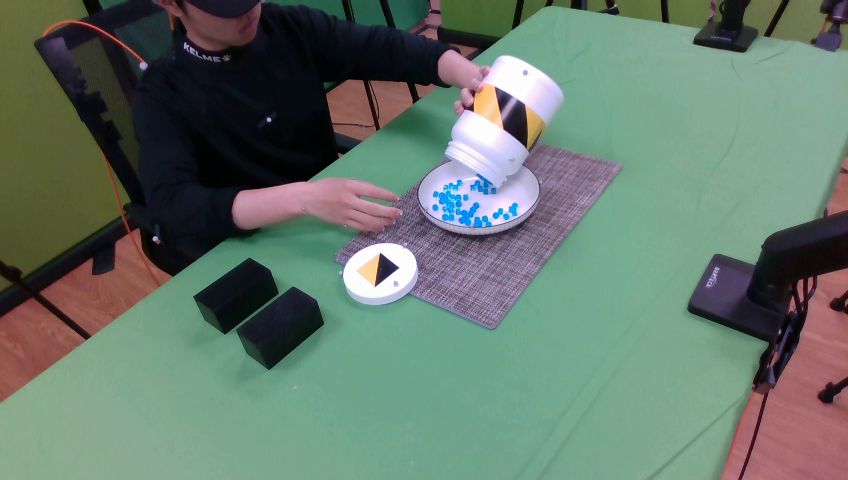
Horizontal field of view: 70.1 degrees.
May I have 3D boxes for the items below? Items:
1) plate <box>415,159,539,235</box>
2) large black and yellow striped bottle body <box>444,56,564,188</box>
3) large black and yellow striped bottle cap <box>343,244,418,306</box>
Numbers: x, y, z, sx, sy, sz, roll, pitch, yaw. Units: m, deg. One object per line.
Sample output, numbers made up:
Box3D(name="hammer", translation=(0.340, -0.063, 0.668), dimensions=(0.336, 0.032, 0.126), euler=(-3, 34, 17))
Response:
Box3D(name="plate", translation=(0.090, -0.074, 1.025), dimensions=(0.207, 0.039, 0.206), euler=(-4, 41, 4))
Box3D(name="large black and yellow striped bottle body", translation=(0.127, -0.190, 0.992), dimensions=(0.129, 0.132, 0.184), euler=(36, 95, 39))
Box3D(name="large black and yellow striped bottle cap", translation=(-0.066, 0.051, 0.918), dimensions=(0.115, 0.019, 0.114), euler=(-6, 43, 6))
